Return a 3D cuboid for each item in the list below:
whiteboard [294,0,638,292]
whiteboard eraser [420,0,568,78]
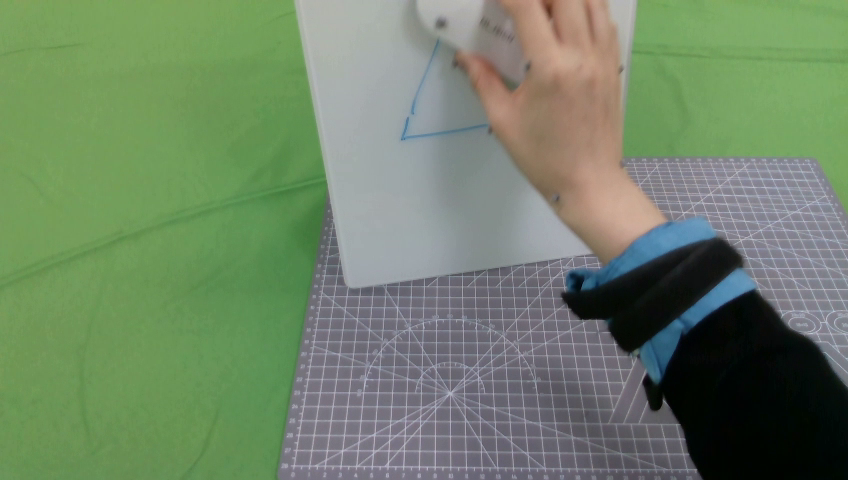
[{"bbox_3d":[0.025,-0.139,0.457,0.217,0.308,0.142,-8,32,-5],"label":"whiteboard"},{"bbox_3d":[0.044,-0.136,0.373,0.102,0.041,0.018,23,26,-20],"label":"whiteboard eraser"}]
